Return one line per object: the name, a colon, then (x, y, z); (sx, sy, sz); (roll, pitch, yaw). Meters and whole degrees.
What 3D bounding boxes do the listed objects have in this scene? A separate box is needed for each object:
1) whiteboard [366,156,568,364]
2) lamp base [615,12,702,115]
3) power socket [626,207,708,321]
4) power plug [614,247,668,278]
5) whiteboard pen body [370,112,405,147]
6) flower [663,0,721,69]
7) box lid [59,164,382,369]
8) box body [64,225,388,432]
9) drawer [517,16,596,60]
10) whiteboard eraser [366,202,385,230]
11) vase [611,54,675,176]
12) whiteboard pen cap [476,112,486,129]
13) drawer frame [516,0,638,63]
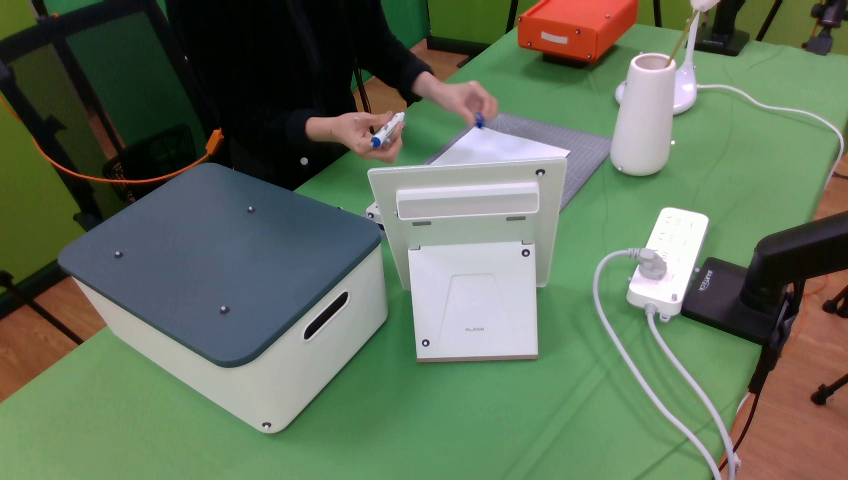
whiteboard: (0.059, 0.050, 0.738); (0.217, 0.307, 0.143); (-2, 60, 6)
lamp base: (0.484, -0.364, 1.211); (0.180, 0.181, 0.159); (-15, 41, -14)
power socket: (0.359, 0.025, 0.886); (0.072, 0.033, 0.227); (16, 46, 26)
power plug: (0.306, 0.031, 0.851); (0.072, 0.053, 0.035); (24, 49, 33)
whiteboard pen body: (-0.052, -0.171, 0.919); (0.017, 0.017, 0.141); (6, 30, 15)
flower: (0.379, -0.262, 0.965); (0.044, 0.362, 0.038); (20, 53, 5)
box lid: (-0.263, 0.010, 0.777); (0.368, 0.015, 0.264); (20, 47, 29)
box body: (-0.256, 0.065, 0.827); (0.361, 0.161, 0.255); (20, 48, 29)
drawer: (0.352, -0.506, 1.405); (0.193, 0.073, 0.212); (23, 49, 32)
whiteboard eraser: (-0.038, -0.038, 1.006); (0.112, 0.042, 0.055); (16, 47, 25)
vase: (0.377, -0.209, 1.031); (0.098, 0.201, 0.097); (-3, 40, 3)
whiteboard pen cap: (0.106, -0.218, 1.107); (0.018, 0.018, 0.033); (-6, 48, 1)
drawer frame: (0.355, -0.508, 1.411); (0.200, 0.083, 0.214); (23, 51, 32)
